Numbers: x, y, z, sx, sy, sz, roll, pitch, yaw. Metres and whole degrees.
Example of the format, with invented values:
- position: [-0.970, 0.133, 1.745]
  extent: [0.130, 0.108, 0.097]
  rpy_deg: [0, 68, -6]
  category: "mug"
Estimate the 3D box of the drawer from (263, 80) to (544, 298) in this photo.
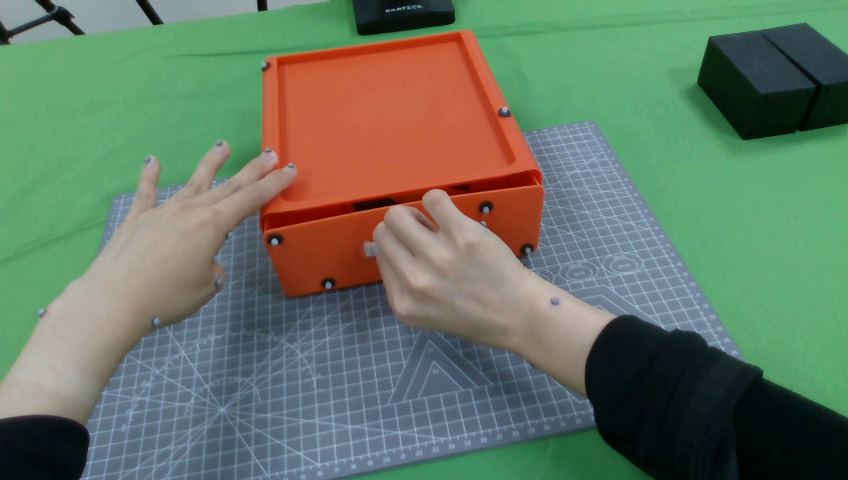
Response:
- position: [-0.027, -0.065, 0.500]
  extent: [0.195, 0.074, 0.209]
  rpy_deg: [-10, 46, -4]
  category: "drawer"

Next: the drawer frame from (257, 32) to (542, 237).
- position: [-0.031, -0.078, 0.510]
  extent: [0.202, 0.083, 0.211]
  rpy_deg: [-11, 46, -5]
  category: "drawer frame"

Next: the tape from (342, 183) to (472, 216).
- position: [-0.019, -0.060, 0.503]
  extent: [0.117, 0.053, 0.115]
  rpy_deg: [-2, 46, 2]
  category: "tape"
